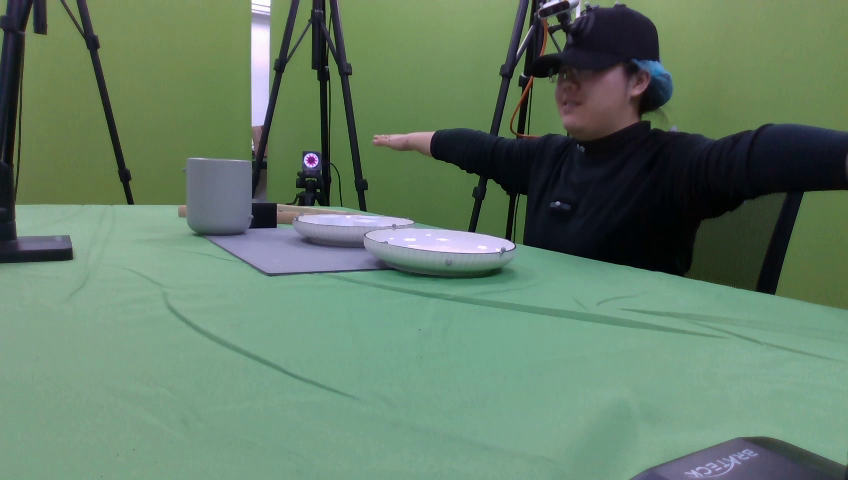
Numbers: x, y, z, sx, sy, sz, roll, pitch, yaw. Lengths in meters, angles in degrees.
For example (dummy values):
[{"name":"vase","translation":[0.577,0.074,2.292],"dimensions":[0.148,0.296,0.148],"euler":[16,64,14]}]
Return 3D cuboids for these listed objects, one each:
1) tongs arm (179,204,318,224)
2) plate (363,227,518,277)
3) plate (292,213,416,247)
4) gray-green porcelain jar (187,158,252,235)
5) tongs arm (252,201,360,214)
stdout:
[{"name":"tongs arm","translation":[-0.330,-0.051,1.270],"dimensions":[0.387,0.028,0.028],"euler":[4,5,6]},{"name":"plate","translation":[0.022,0.016,0.817],"dimensions":[0.209,0.038,0.209],"euler":[3,9,0]},{"name":"plate","translation":[-0.118,-0.017,1.024],"dimensions":[0.208,0.039,0.207],"euler":[2,8,0]},{"name":"gray-green porcelain jar","translation":[-0.350,-0.075,1.036],"dimensions":[0.106,0.126,0.106],"euler":[3,8,0]},{"name":"tongs arm","translation":[-0.307,-0.064,1.348],"dimensions":[0.384,0.026,0.051],"euler":[7,9,20]}]
